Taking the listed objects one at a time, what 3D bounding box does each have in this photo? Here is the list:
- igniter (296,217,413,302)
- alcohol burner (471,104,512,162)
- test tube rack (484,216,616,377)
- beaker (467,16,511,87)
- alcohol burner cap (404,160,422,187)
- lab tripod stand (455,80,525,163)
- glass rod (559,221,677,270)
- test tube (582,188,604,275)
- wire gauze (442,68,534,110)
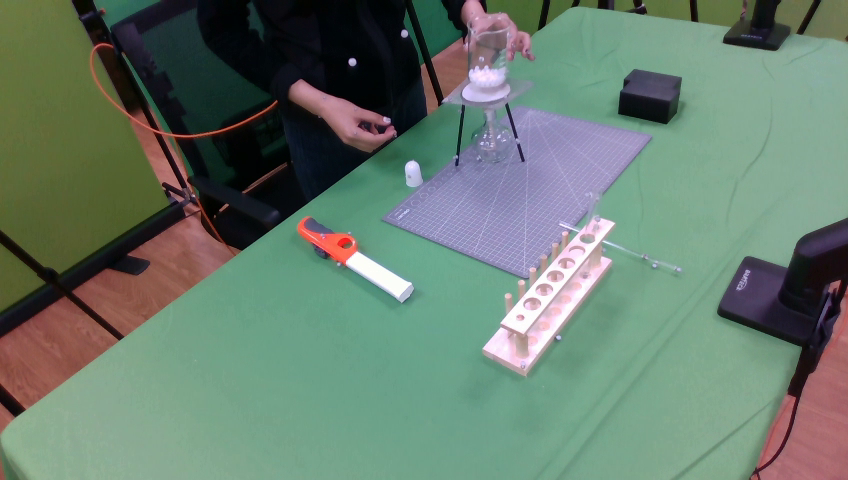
[{"bbox_3d":[-0.121,0.025,0.970,0.274,0.025,0.057,29,63,37],"label":"igniter"},{"bbox_3d":[0.125,-0.207,1.126,0.078,0.119,0.077,-5,42,5],"label":"alcohol burner"},{"bbox_3d":[0.174,0.064,0.823,0.066,0.085,0.243,23,49,33],"label":"test tube rack"},{"bbox_3d":[0.108,-0.320,1.039,0.073,0.100,0.084,22,46,27],"label":"beaker"},{"bbox_3d":[-0.022,-0.125,1.118,0.034,0.048,0.033,-5,40,5],"label":"alcohol burner cap"},{"bbox_3d":[0.120,-0.219,1.126,0.148,0.132,0.147,-4,40,4],"label":"lab tripod stand"},{"bbox_3d":[0.292,0.007,0.927,0.198,0.008,0.008,26,52,36],"label":"glass rod"},{"bbox_3d":[0.228,-0.007,0.821,0.017,0.151,0.017,-3,42,3],"label":"test tube"},{"bbox_3d":[0.114,-0.270,1.081,0.120,0.011,0.125,21,49,29],"label":"wire gauze"}]
